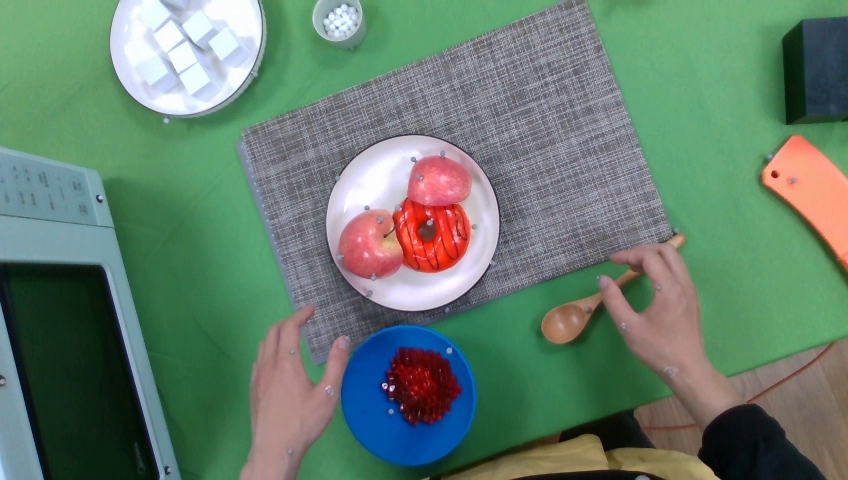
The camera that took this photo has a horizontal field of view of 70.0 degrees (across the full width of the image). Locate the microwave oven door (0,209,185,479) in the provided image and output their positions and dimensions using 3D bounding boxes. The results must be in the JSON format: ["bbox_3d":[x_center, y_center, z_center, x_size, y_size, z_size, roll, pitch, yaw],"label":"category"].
[{"bbox_3d":[-0.376,0.143,0.645,0.039,0.244,0.355,-18,85,8],"label":"microwave oven door"}]

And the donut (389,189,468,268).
[{"bbox_3d":[0.003,-0.016,0.698,0.099,0.048,0.099,0,90,8],"label":"donut"}]

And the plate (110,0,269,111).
[{"bbox_3d":[-0.291,-0.263,0.766,0.207,0.039,0.207,0,88,9],"label":"plate"}]

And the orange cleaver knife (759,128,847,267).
[{"bbox_3d":[0.449,-0.025,0.654,0.077,0.012,0.210,-35,82,1],"label":"orange cleaver knife"}]

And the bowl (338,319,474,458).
[{"bbox_3d":[-0.014,0.162,0.691,0.151,0.077,0.151,0,88,9],"label":"bowl"}]

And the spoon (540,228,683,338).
[{"bbox_3d":[0.214,0.047,0.686,0.194,0.022,0.041,-37,69,6],"label":"spoon"}]

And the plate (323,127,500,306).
[{"bbox_3d":[-0.014,-0.027,0.712,0.209,0.038,0.209,0,88,9],"label":"plate"}]

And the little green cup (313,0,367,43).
[{"bbox_3d":[-0.099,-0.272,0.736,0.061,0.039,0.061,0,88,9],"label":"little green cup"}]

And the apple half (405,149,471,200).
[{"bbox_3d":[0.017,-0.081,0.683,0.081,0.033,0.080,-1,47,2],"label":"apple half"}]

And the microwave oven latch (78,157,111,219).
[{"bbox_3d":[-0.422,-0.063,0.761,0.030,0.029,0.079,-16,87,7],"label":"microwave oven latch"}]

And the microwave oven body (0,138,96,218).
[{"bbox_3d":[-0.526,0.146,0.673,0.326,0.261,0.440,-18,86,7],"label":"microwave oven body"}]

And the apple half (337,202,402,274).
[{"bbox_3d":[-0.070,0.000,0.689,0.074,0.053,0.080,-21,82,49],"label":"apple half"}]
